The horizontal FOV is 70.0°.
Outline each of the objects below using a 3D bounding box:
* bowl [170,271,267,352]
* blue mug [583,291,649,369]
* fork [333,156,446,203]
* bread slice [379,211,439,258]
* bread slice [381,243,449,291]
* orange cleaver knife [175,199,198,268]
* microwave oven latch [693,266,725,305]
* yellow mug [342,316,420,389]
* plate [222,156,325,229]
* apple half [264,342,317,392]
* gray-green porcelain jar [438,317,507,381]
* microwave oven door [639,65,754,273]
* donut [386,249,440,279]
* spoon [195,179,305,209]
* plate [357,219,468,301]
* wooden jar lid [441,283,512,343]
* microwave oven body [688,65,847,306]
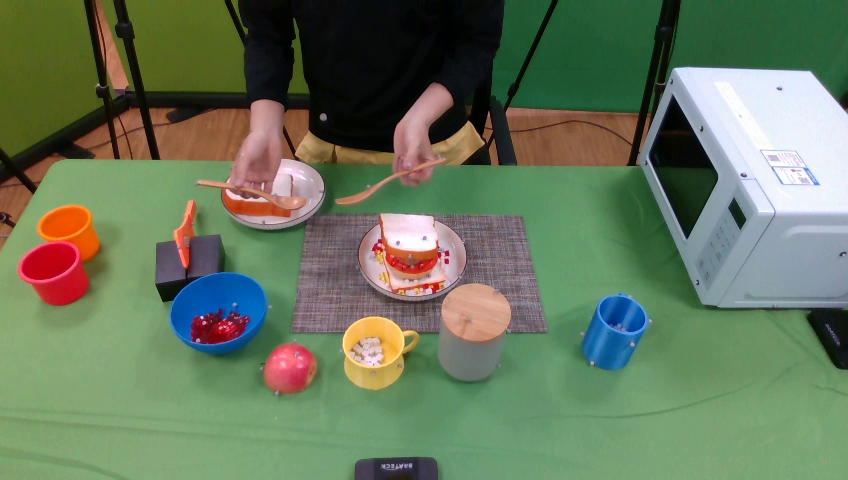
[{"bbox_3d":[-0.333,0.132,1.006,0.151,0.077,0.150,2,46,-2],"label":"bowl"},{"bbox_3d":[0.324,0.142,1.023,0.082,0.106,0.116,15,47,11],"label":"blue mug"},{"bbox_3d":[-0.057,-0.103,1.035,0.207,0.019,0.028,-25,27,-7],"label":"fork"},{"bbox_3d":[-0.024,-0.012,1.064,0.105,0.019,0.130,3,33,-10],"label":"bread slice"},{"bbox_3d":[-0.027,0.039,1.139,0.107,0.018,0.133,-12,46,-16],"label":"bread slice"},{"bbox_3d":[-0.438,-0.017,1.138,0.012,0.077,0.210,-14,27,-7],"label":"orange cleaver knife"},{"bbox_3d":[0.523,0.082,1.115,0.030,0.029,0.078,3,46,0],"label":"microwave oven latch"},{"bbox_3d":[-0.067,0.178,0.990,0.131,0.064,0.099,-16,50,-19],"label":"yellow mug"},{"bbox_3d":[-0.308,-0.095,1.252,0.209,0.038,0.208,3,47,-3],"label":"plate"},{"bbox_3d":[-0.214,0.198,0.970,0.074,0.053,0.080,19,48,11],"label":"apple half"},{"bbox_3d":[0.076,0.158,0.977,0.106,0.127,0.105,2,47,-2],"label":"gray-green porcelain jar"},{"bbox_3d":[0.522,-0.147,1.192,0.039,0.245,0.353,0,47,-3],"label":"microwave oven door"},{"bbox_3d":[-0.021,0.029,1.110,0.099,0.048,0.098,2,46,-2],"label":"donut"},{"bbox_3d":[-0.307,-0.086,1.072,0.194,0.022,0.041,15,39,-4],"label":"spoon"},{"bbox_3d":[-0.021,0.037,1.141,0.208,0.039,0.206,2,46,-2],"label":"plate"},{"bbox_3d":[0.080,0.114,0.931,0.108,0.021,0.107,1,49,-1],"label":"wooden jar lid"},{"bbox_3d":[0.669,-0.111,1.176,0.326,0.261,0.439,0,46,-3],"label":"microwave oven body"}]
